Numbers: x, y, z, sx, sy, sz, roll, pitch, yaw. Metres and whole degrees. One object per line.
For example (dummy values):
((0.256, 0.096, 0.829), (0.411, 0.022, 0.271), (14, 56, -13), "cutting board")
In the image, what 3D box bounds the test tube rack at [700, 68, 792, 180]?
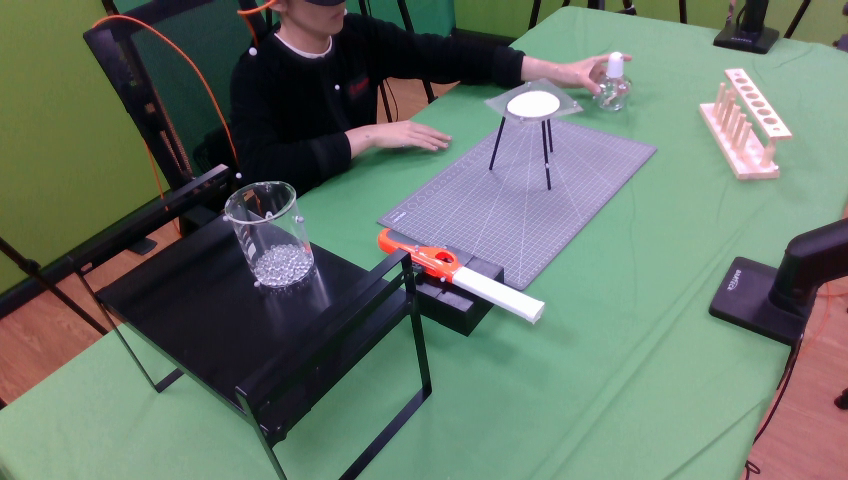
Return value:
((0.572, -0.215, 1.090), (0.066, 0.085, 0.241), (-3, 41, 7), "test tube rack")

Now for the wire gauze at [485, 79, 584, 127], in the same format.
((0.185, -0.232, 1.023), (0.125, 0.011, 0.120), (-20, 42, -12), "wire gauze")

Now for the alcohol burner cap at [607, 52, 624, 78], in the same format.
((0.379, -0.348, 1.192), (0.034, 0.048, 0.033), (-6, 44, 6), "alcohol burner cap")

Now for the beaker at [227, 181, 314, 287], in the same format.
((-0.166, -0.006, 0.670), (0.074, 0.101, 0.083), (-8, 40, 0), "beaker")

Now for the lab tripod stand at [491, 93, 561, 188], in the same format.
((0.189, -0.180, 1.066), (0.148, 0.132, 0.147), (-5, 42, 5), "lab tripod stand")

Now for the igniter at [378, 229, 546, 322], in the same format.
((0.041, 0.043, 0.843), (0.274, 0.025, 0.057), (24, 47, 29), "igniter")

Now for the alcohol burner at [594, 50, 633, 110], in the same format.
((0.382, -0.324, 1.213), (0.078, 0.119, 0.077), (-5, 43, 5), "alcohol burner")
